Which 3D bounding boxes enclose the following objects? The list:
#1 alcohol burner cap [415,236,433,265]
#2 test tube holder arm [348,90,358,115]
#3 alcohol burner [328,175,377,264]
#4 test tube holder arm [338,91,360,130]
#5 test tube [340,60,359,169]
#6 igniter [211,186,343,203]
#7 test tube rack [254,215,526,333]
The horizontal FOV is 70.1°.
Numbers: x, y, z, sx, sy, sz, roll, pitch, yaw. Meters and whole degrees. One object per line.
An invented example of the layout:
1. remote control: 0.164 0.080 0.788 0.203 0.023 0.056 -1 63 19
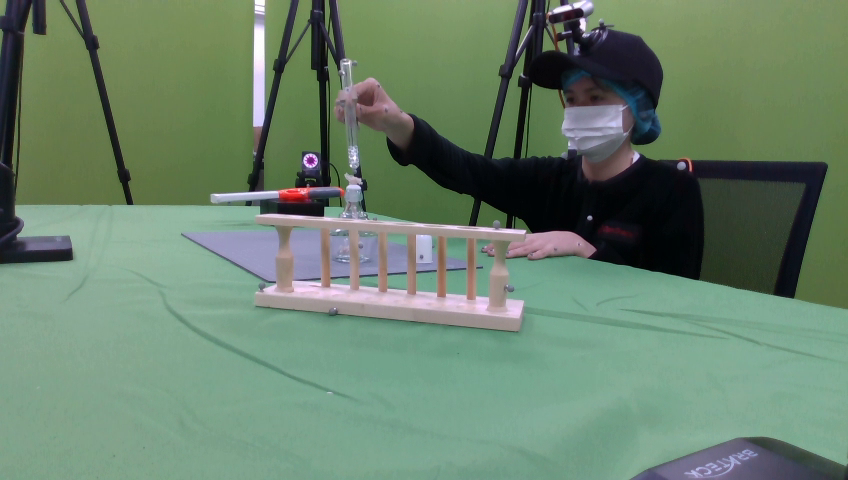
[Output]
1. alcohol burner cap: -0.004 0.011 0.835 0.034 0.048 0.034 2 7 0
2. test tube holder arm: -0.100 -0.190 0.843 0.010 0.015 0.087 -4 -2 -10
3. alcohol burner: -0.098 -0.028 0.819 0.078 0.119 0.078 1 8 0
4. test tube holder arm: -0.108 -0.187 0.887 0.013 0.015 0.178 -3 -2 -1
5. test tube: -0.101 -0.170 0.818 0.017 0.150 0.017 -5 -5 0
6. igniter: -0.300 -0.095 1.266 0.278 0.025 0.057 -6 12 -34
7. test tube rack: -0.030 0.025 0.558 0.242 0.085 0.067 4 7 12
